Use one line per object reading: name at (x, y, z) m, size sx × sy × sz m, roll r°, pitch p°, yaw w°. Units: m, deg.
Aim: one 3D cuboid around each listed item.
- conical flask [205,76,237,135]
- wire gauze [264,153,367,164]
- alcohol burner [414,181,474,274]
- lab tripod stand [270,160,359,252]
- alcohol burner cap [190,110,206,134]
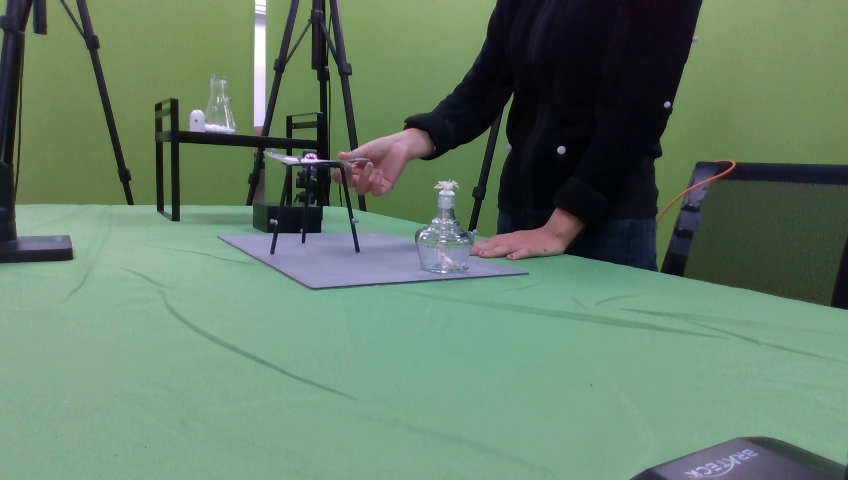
conical flask at (-0.443, -0.290, 1.309) m, size 0.075 × 0.122 × 0.075 m, roll 3°, pitch 7°, yaw 0°
wire gauze at (-0.160, -0.118, 0.888) m, size 0.122 × 0.011 × 0.124 m, roll -2°, pitch 10°, yaw -32°
alcohol burner at (0.027, -0.017, 0.773) m, size 0.078 × 0.119 × 0.078 m, roll 4°, pitch 6°, yaw 0°
lab tripod stand at (-0.167, -0.051, 0.892) m, size 0.148 × 0.131 × 0.148 m, roll 3°, pitch 9°, yaw 0°
alcohol burner cap at (-0.464, -0.243, 1.240) m, size 0.034 × 0.048 × 0.034 m, roll 4°, pitch 7°, yaw 0°
